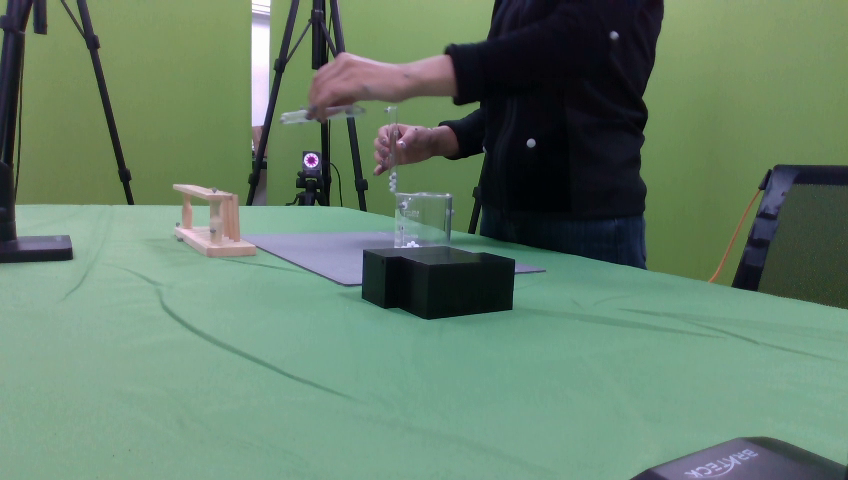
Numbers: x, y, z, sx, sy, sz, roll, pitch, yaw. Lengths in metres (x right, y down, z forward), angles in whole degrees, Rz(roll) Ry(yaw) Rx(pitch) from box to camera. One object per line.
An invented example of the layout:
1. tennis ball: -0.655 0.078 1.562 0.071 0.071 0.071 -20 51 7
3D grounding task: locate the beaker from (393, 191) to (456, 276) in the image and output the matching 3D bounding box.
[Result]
1. beaker: -0.003 -0.010 0.749 0.074 0.100 0.083 -3 8 -40

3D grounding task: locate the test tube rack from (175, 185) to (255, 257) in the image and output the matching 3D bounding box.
1. test tube rack: -0.324 -0.035 0.922 0.067 0.085 0.241 -2 9 -32

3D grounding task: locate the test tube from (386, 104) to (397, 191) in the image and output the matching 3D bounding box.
1. test tube: -0.055 -0.157 1.035 0.017 0.150 0.017 0 21 0

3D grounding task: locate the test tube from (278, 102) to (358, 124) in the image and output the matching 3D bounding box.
1. test tube: -0.147 -0.175 0.832 0.149 0.017 0.017 1 5 38
